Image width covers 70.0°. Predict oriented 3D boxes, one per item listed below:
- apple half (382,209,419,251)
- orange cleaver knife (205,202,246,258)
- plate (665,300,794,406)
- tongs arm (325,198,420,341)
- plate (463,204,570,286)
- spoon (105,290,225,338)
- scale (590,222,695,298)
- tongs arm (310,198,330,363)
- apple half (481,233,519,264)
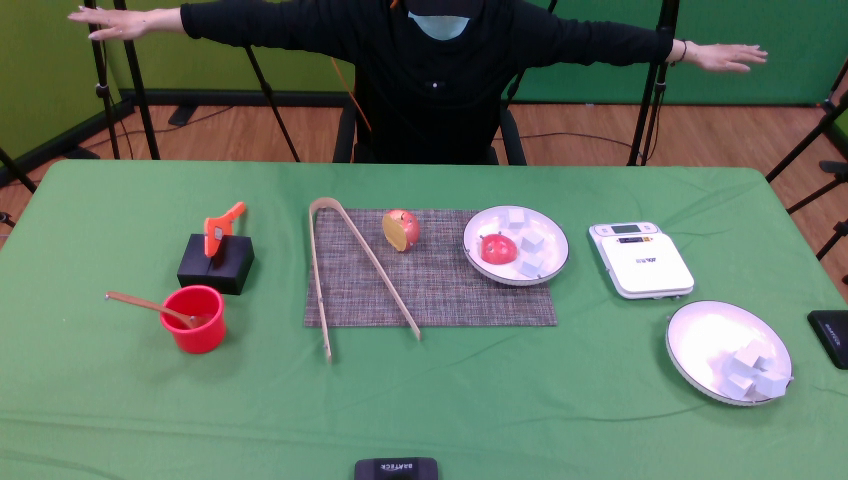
[{"bbox_3d":[-0.039,-0.022,1.175,0.053,0.075,0.080,-27,49,-31],"label":"apple half"},{"bbox_3d":[-0.376,-0.024,1.151,0.012,0.077,0.210,0,16,2],"label":"orange cleaver knife"},{"bbox_3d":[0.513,0.194,1.034,0.208,0.039,0.206,2,46,-2],"label":"plate"},{"bbox_3d":[-0.101,0.043,1.140,0.028,0.028,0.385,-22,51,-18],"label":"tongs arm"},{"bbox_3d":[0.177,0.013,1.180,0.209,0.038,0.208,2,46,-2],"label":"plate"},{"bbox_3d":[-0.411,0.115,0.971,0.195,0.021,0.041,32,36,-37],"label":"spoon"},{"bbox_3d":[0.424,0.031,1.189,0.149,0.032,0.199,-3,46,-7],"label":"scale"},{"bbox_3d":[-0.180,0.058,1.117,0.051,0.026,0.382,-9,47,-11],"label":"tongs arm"},{"bbox_3d":[0.147,0.010,1.174,0.081,0.033,0.081,0,45,1],"label":"apple half"}]
